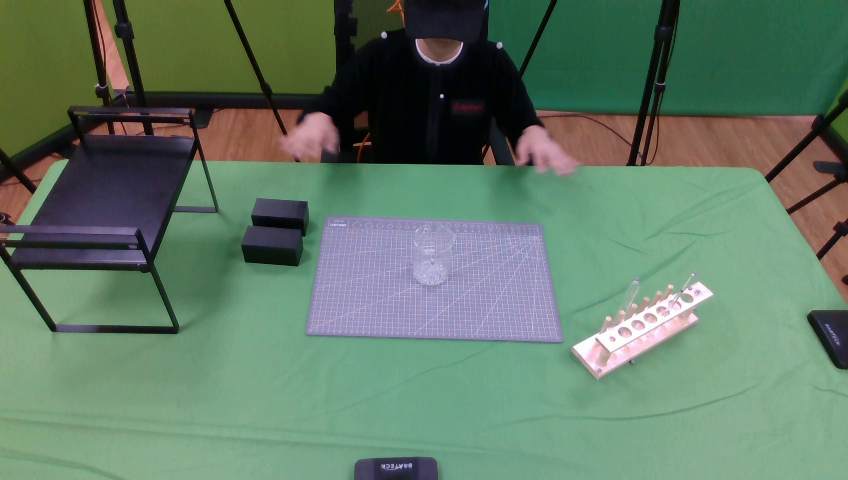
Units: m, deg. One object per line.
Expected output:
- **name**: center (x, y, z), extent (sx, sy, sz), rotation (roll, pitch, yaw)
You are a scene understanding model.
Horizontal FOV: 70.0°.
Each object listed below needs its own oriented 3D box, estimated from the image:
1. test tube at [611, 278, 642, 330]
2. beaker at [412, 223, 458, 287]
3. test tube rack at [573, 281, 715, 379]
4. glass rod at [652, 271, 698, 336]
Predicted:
- **test tube**: center (0.332, 0.113, 0.999), extent (0.017, 0.151, 0.017), rotation (1, 48, -1)
- **beaker**: center (0.018, 0.030, 1.109), extent (0.084, 0.101, 0.073), rotation (-10, 48, -14)
- **test tube rack**: center (0.378, 0.140, 1.038), extent (0.242, 0.085, 0.066), rotation (-22, 51, -23)
- **glass rod**: center (0.403, 0.108, 0.979), extent (0.008, 0.201, 0.008), rotation (1, 53, -1)
